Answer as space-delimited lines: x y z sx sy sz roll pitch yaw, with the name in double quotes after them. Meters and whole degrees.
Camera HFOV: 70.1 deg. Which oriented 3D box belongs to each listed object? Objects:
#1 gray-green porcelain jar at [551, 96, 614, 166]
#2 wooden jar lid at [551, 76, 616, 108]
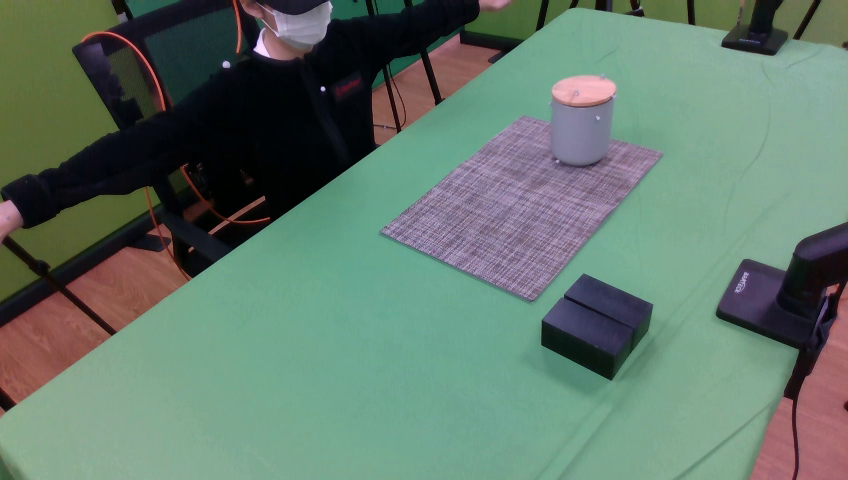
0.282 -0.206 1.087 0.106 0.127 0.105 -5 40 4 "gray-green porcelain jar"
0.275 -0.253 1.047 0.108 0.021 0.108 -5 38 4 "wooden jar lid"
